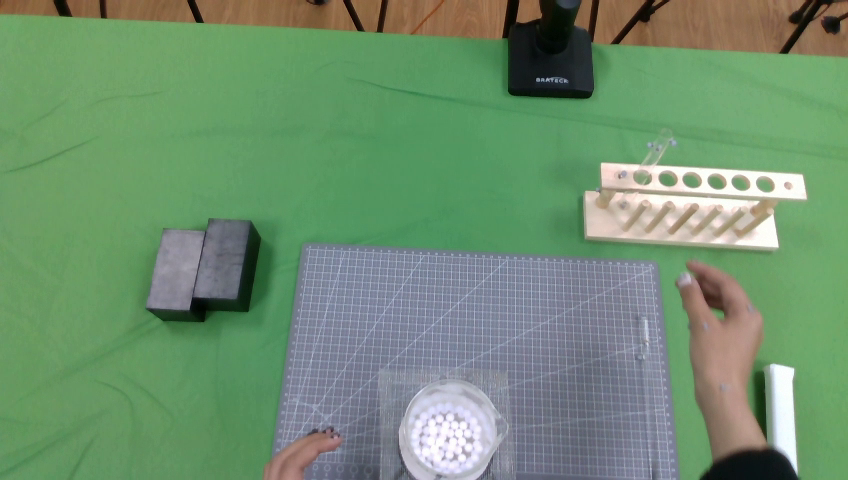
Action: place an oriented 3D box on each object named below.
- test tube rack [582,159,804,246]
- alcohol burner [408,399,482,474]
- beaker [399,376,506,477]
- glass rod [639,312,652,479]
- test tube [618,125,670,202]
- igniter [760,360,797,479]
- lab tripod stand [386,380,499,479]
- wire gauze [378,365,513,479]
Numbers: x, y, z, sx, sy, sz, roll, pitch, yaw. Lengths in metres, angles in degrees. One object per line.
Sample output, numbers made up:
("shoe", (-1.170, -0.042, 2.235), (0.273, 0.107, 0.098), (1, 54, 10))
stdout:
("test tube rack", (0.328, -0.045, 0.754), (0.242, 0.086, 0.066), (3, 67, 0))
("alcohol burner", (0.023, 0.201, 0.629), (0.078, 0.120, 0.077), (1, 66, -2))
("beaker", (0.022, 0.161, 0.511), (0.084, 0.101, 0.073), (-2, 67, -1))
("glass rod", (0.256, 0.180, 0.699), (0.008, 0.008, 0.198), (5, 70, 0))
("test tube", (0.257, -0.086, 0.716), (0.017, 0.151, 0.017), (0, 64, 0))
("igniter", (0.387, 0.268, 0.659), (0.057, 0.025, 0.275), (14, 68, -7))
("lab tripod stand", (0.017, 0.204, 0.616), (0.148, 0.132, 0.147), (0, 67, 1))
("wire gauze", (0.018, 0.176, 0.557), (0.125, 0.011, 0.120), (0, 66, 1))
